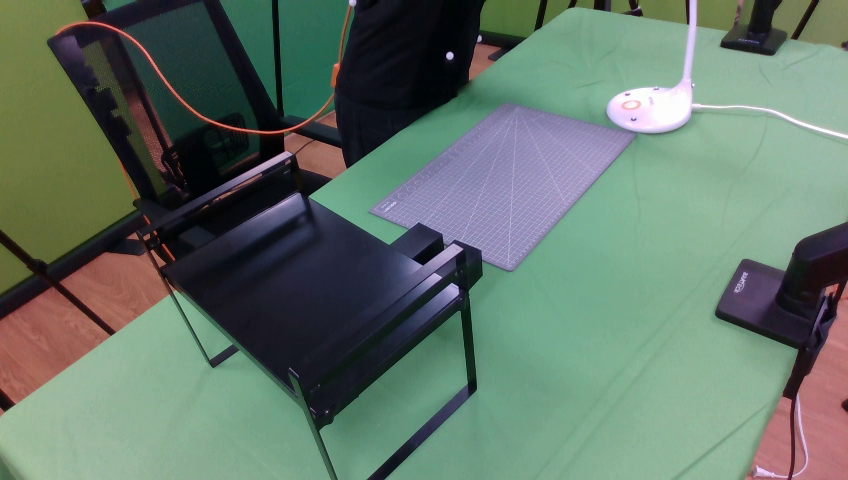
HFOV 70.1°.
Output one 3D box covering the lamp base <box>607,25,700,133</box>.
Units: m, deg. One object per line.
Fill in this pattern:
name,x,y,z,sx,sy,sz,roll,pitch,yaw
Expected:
lamp base,0.452,-0.320,1.160,0.179,0.181,0.159,-6,41,-2
